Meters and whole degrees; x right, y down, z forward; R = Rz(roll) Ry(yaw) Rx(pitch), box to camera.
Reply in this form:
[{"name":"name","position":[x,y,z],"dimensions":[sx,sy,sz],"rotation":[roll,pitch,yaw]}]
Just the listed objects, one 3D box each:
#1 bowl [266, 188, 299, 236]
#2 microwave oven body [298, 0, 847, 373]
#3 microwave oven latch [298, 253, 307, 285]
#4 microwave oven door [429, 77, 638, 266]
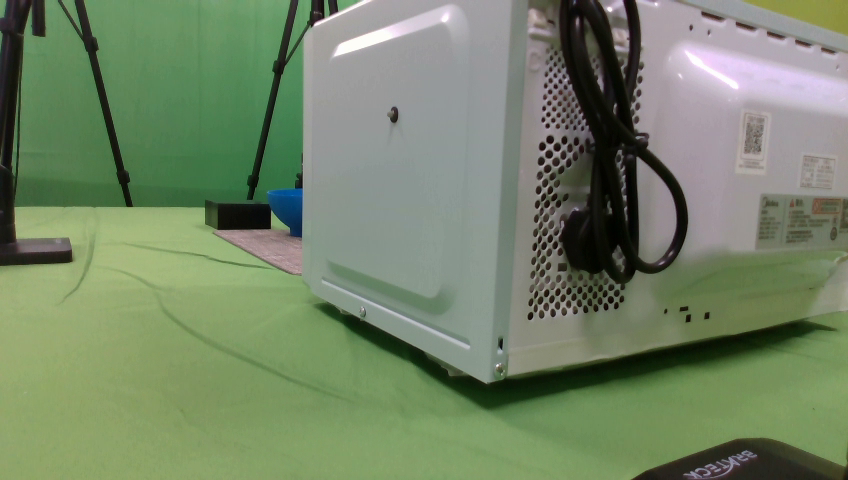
[{"name":"bowl","position":[-0.205,-0.050,1.088],"dimensions":[0.151,0.077,0.151],"rotation":[1,10,0]},{"name":"microwave oven body","position":[0.151,-0.055,0.543],"dimensions":[0.444,0.260,0.324],"rotation":[-2,7,-33]},{"name":"microwave oven latch","position":[-0.082,0.027,0.583],"dimensions":[0.079,0.029,0.030],"rotation":[-2,7,-33]},{"name":"microwave oven door","position":[0.143,-0.106,0.903],"dimensions":[0.039,0.243,0.354],"rotation":[-4,9,-41]}]
